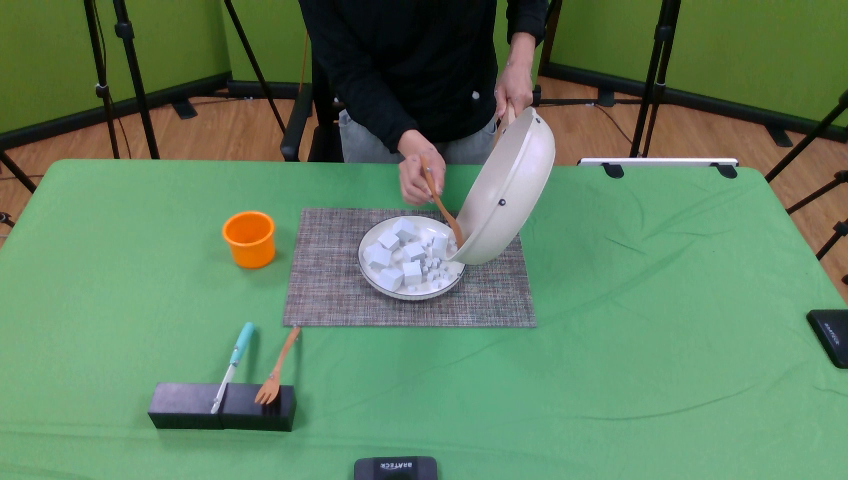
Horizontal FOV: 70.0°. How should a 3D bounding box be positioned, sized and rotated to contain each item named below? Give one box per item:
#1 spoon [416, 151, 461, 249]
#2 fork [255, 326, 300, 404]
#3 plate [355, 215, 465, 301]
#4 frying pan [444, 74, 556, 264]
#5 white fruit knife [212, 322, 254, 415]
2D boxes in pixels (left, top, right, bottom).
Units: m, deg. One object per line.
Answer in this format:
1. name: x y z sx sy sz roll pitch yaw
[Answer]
1. spoon: 0.025 -0.067 1.047 0.021 0.194 0.041 -20 27 18
2. fork: -0.226 0.192 0.955 0.028 0.019 0.206 -3 27 6
3. plate: -0.025 0.038 1.144 0.208 0.039 0.206 3 46 -3
4. frying pan: 0.145 -0.158 1.089 0.103 0.307 0.485 22 48 -13
5. white fruit knife: -0.298 0.193 0.947 0.016 0.027 0.206 2 31 -1
